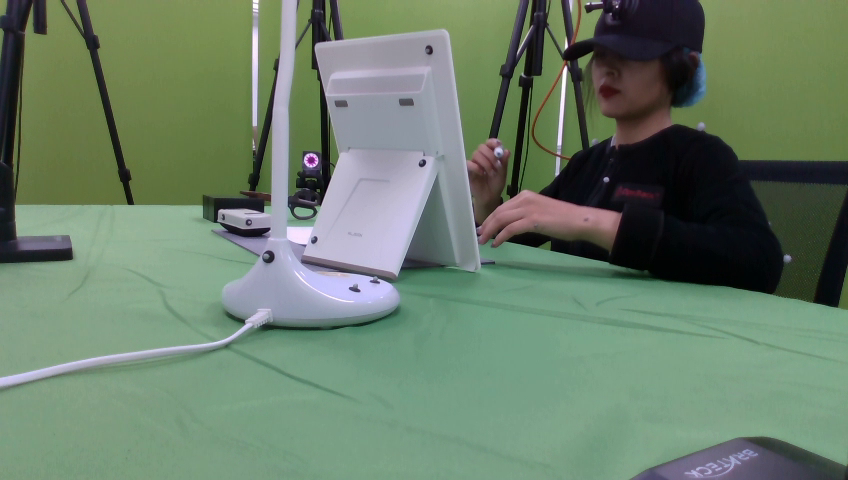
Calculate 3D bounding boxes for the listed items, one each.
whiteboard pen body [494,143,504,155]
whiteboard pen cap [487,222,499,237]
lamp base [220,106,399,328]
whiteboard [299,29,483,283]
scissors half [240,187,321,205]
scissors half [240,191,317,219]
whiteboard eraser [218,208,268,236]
[{"bbox_3d":[0.132,-0.160,1.063,0.017,0.017,0.141,3,12,8],"label":"whiteboard pen body"},{"bbox_3d":[0.100,-0.015,0.885,0.018,0.018,0.033,3,14,1],"label":"whiteboard pen cap"},{"bbox_3d":[-0.101,-0.023,0.531,0.160,0.180,0.179,4,10,10],"label":"lamp base"},{"bbox_3d":[-0.074,-0.082,0.742,0.216,0.305,0.144,9,29,38],"label":"whiteboard"},{"bbox_3d":[-0.311,-0.097,1.319,0.176,0.040,0.012,-1,30,-25],"label":"scissors half"},{"bbox_3d":[-0.318,-0.079,1.326,0.176,0.040,0.013,18,15,-31],"label":"scissors half"},{"bbox_3d":[-0.309,-0.031,1.044,0.056,0.042,0.112,-2,9,-40],"label":"whiteboard eraser"}]
